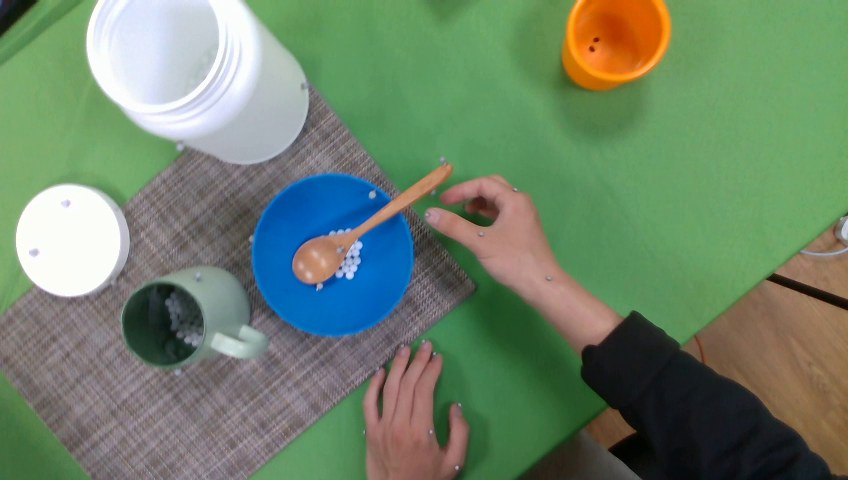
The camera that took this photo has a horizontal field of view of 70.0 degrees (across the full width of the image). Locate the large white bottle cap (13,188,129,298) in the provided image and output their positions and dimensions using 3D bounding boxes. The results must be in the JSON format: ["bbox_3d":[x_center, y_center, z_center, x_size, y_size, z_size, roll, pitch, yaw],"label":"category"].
[{"bbox_3d":[-0.367,0.003,0.630,0.115,0.018,0.115,0,91,3],"label":"large white bottle cap"}]

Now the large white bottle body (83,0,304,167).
[{"bbox_3d":[-0.192,-0.141,0.534,0.130,0.185,0.130,0,89,5],"label":"large white bottle body"}]

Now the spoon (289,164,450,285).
[{"bbox_3d":[-0.052,-0.013,0.559,0.193,0.021,0.042,-32,96,27],"label":"spoon"}]

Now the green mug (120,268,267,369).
[{"bbox_3d":[-0.212,0.082,0.584,0.125,0.105,0.092,23,92,1],"label":"green mug"}]

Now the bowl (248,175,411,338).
[{"bbox_3d":[-0.084,0.014,0.590,0.151,0.077,0.151,0,93,3],"label":"bowl"}]
